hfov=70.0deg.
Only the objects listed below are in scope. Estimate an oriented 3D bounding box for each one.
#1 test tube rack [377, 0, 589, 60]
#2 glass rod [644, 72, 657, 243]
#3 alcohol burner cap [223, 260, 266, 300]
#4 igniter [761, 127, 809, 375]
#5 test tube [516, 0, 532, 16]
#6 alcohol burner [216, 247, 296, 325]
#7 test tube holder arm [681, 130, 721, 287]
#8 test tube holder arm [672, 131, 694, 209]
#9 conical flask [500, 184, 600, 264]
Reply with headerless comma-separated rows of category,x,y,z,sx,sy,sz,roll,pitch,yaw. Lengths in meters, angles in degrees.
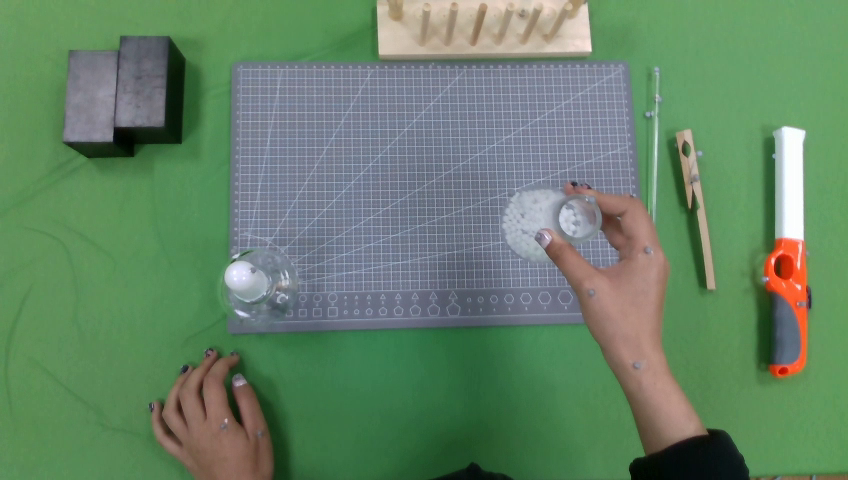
test tube rack,0.069,-0.249,0.662,0.242,0.085,0.066,-2,80,-4
glass rod,0.257,-0.095,0.686,0.008,0.008,0.199,5,83,-3
alcohol burner cap,-0.165,0.034,0.549,0.034,0.048,0.033,1,72,-2
igniter,0.398,0.010,0.669,0.057,0.025,0.275,8,80,-12
test tube,0.111,-0.276,0.619,0.017,0.151,0.017,0,78,1
alcohol burner,-0.166,0.042,0.584,0.078,0.119,0.077,0,79,-1
test tube holder arm,0.306,-0.036,0.673,0.013,0.015,0.177,-15,79,31
test tube holder arm,0.294,-0.078,0.682,0.010,0.015,0.087,-13,80,32
conical flask,0.112,-0.015,0.519,0.075,0.122,0.075,0,90,-4
